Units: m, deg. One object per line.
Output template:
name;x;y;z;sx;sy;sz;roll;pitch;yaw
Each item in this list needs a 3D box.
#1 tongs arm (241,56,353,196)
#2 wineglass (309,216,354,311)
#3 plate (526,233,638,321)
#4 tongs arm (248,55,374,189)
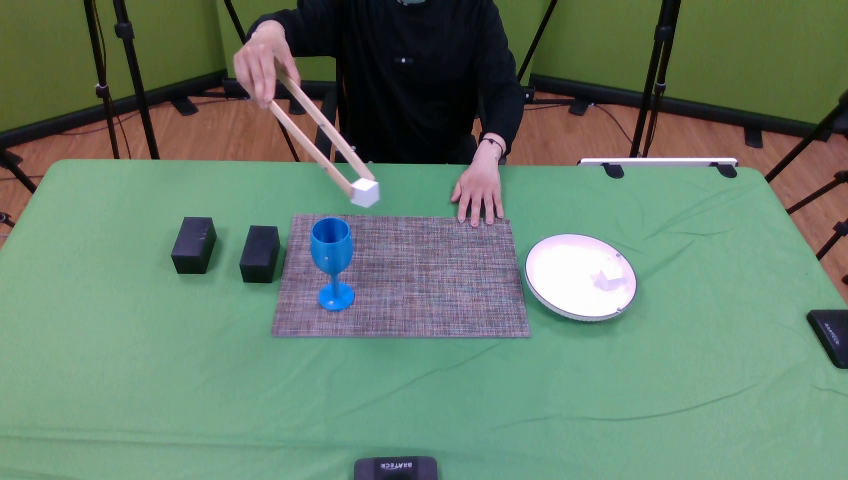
tongs arm;-0.220;-0.197;1.006;0.028;0.028;0.385;-27;57;-25
wineglass;-0.155;0.043;1.032;0.074;0.173;0.073;2;46;-2
plate;0.292;0.071;1.135;0.209;0.038;0.208;2;46;-2
tongs arm;-0.200;-0.206;1.018;0.051;0.026;0.382;-21;54;-26
